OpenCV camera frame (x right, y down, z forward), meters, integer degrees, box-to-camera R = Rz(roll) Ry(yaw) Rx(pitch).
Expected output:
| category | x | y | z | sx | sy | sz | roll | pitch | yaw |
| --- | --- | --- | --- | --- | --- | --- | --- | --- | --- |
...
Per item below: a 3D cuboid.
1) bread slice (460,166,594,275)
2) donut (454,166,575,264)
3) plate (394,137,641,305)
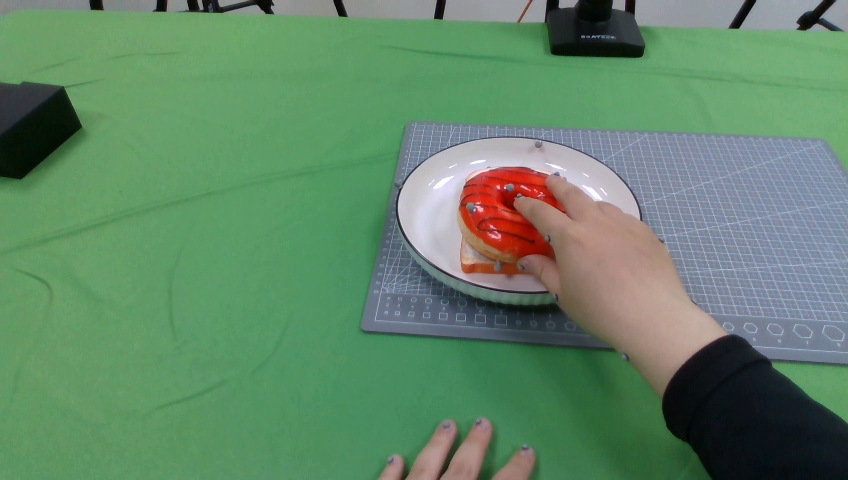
| category | x | y | z | sx | sy | sz | roll | pitch | yaw |
| --- | --- | --- | --- | --- | --- | --- | --- | --- | --- |
| bread slice | 0.081 | -0.020 | 0.532 | 0.107 | 0.018 | 0.133 | 0 | 44 | -2 |
| donut | 0.073 | -0.021 | 0.491 | 0.099 | 0.048 | 0.098 | 1 | 46 | -1 |
| plate | 0.079 | -0.018 | 0.528 | 0.209 | 0.038 | 0.207 | 0 | 43 | 0 |
